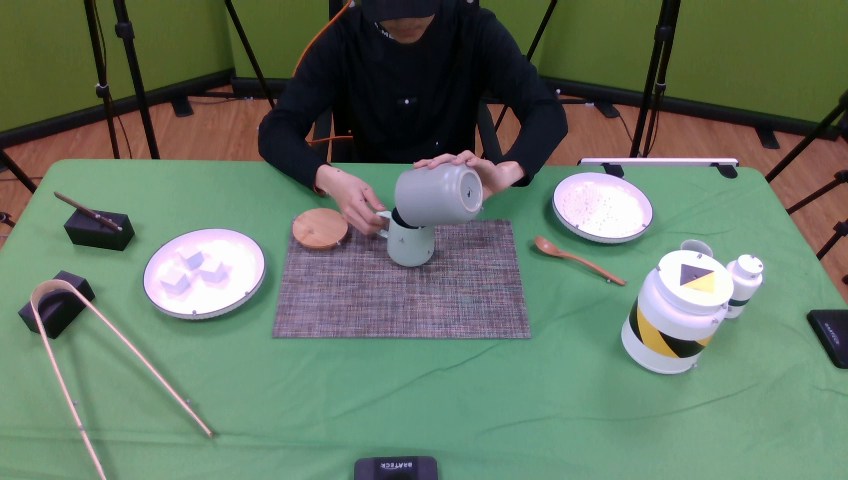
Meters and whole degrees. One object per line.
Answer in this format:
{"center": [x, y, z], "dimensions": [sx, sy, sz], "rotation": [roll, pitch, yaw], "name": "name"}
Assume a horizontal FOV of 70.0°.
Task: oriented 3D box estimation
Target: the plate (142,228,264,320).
{"center": [-0.394, 0.064, 1.095], "dimensions": [0.208, 0.039, 0.206], "rotation": [2, 46, -2], "name": "plate"}

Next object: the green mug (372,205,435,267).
{"center": [-0.040, -0.016, 1.146], "dimensions": [0.125, 0.105, 0.092], "rotation": [17, 48, 13], "name": "green mug"}

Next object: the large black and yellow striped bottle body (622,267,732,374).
{"center": [0.415, 0.119, 0.997], "dimensions": [0.131, 0.185, 0.130], "rotation": [2, 46, -2], "name": "large black and yellow striped bottle body"}

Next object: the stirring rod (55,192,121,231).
{"center": [-0.632, -0.055, 1.138], "dimensions": [0.175, 0.014, 0.006], "rotation": [24, 50, 19], "name": "stirring rod"}

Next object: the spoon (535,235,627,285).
{"center": [0.303, 0.040, 1.178], "dimensions": [0.193, 0.022, 0.041], "rotation": [26, 34, 20], "name": "spoon"}

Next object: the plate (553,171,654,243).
{"center": [0.373, -0.066, 1.274], "dimensions": [0.209, 0.038, 0.208], "rotation": [2, 46, -2], "name": "plate"}

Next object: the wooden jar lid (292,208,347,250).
{"center": [-0.205, -0.020, 1.197], "dimensions": [0.108, 0.021, 0.107], "rotation": [3, 46, -3], "name": "wooden jar lid"}

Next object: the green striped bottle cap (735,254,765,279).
{"center": [0.566, 0.046, 1.051], "dimensions": [0.044, 0.020, 0.044], "rotation": [0, 45, 0], "name": "green striped bottle cap"}

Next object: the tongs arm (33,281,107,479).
{"center": [-0.517, 0.214, 0.910], "dimensions": [0.051, 0.026, 0.383], "rotation": [-29, 63, -27], "name": "tongs arm"}

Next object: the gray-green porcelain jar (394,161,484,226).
{"center": [0.030, -0.079, 1.039], "dimensions": [0.126, 0.106, 0.105], "rotation": [-4, 36, 39], "name": "gray-green porcelain jar"}

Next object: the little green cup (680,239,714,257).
{"center": [0.530, 0.033, 1.189], "dimensions": [0.061, 0.039, 0.061], "rotation": [2, 47, -2], "name": "little green cup"}

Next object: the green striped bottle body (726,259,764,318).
{"center": [0.563, 0.081, 1.089], "dimensions": [0.063, 0.120, 0.063], "rotation": [2, 46, -2], "name": "green striped bottle body"}

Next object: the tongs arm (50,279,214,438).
{"center": [-0.459, 0.178, 0.949], "dimensions": [0.386, 0.028, 0.028], "rotation": [37, 60, 17], "name": "tongs arm"}

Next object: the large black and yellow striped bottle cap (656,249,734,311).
{"center": [0.419, 0.061, 0.938], "dimensions": [0.115, 0.019, 0.114], "rotation": [2, 47, -2], "name": "large black and yellow striped bottle cap"}
